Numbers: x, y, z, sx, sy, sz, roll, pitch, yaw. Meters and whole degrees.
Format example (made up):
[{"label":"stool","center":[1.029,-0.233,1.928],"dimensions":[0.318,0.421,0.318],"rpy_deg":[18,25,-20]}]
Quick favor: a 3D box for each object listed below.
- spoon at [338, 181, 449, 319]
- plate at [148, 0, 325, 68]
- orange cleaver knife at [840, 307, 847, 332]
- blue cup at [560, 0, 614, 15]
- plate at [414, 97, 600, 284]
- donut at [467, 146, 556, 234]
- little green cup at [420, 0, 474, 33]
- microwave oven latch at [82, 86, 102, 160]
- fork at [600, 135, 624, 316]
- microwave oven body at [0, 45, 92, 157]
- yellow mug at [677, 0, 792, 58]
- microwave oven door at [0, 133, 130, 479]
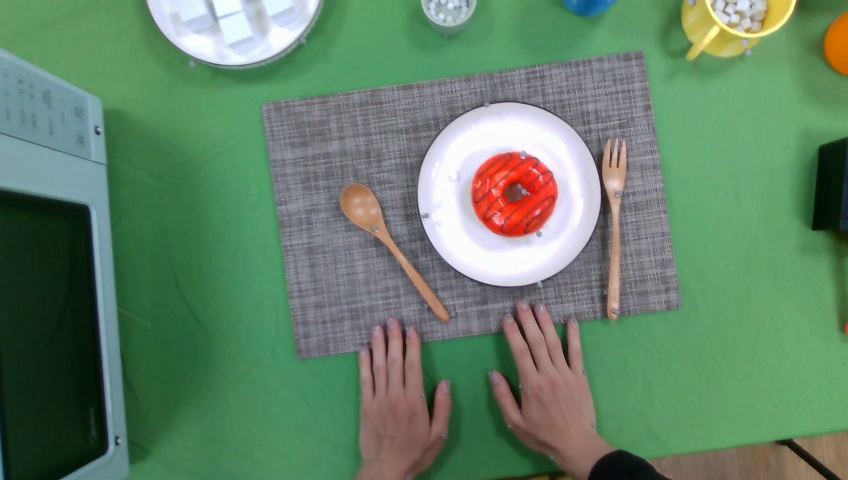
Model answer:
[{"label":"spoon","center":[-0.033,0.014,0.696],"dimensions":[0.041,0.021,0.193],"rpy_deg":[-37,88,-19]},{"label":"plate","center":[-0.212,-0.299,0.701],"dimensions":[0.208,0.039,0.207],"rpy_deg":[0,89,1]},{"label":"orange cleaver knife","center":[0.498,0.003,0.664],"dimensions":[0.012,0.076,0.213],"rpy_deg":[7,118,3]},{"label":"blue cup","center":[0.187,-0.294,0.665],"dimensions":[0.092,0.100,0.092],"rpy_deg":[0,90,0]},{"label":"plate","center":[0.092,-0.054,0.688],"dimensions":[0.209,0.038,0.209],"rpy_deg":[0,89,1]},{"label":"donut","center":[0.097,-0.056,0.677],"dimensions":[0.099,0.048,0.099],"rpy_deg":[0,89,3]},{"label":"little green cup","center":[0.027,-0.271,0.697],"dimensions":[0.061,0.038,0.061],"rpy_deg":[0,88,1]},{"label":"microwave oven latch","center":[-0.382,-0.131,0.680],"dimensions":[0.030,0.029,0.079],"rpy_deg":[-3,89,0]},{"label":"fork","center":[0.216,-0.016,0.695],"dimensions":[0.028,0.018,0.207],"rpy_deg":[2,87,-3]},{"label":"microwave oven body","center":[-0.517,0.055,0.582],"dimensions":[0.326,0.260,0.441],"rpy_deg":[-5,89,0]},{"label":"yellow mug","center":[0.337,-0.256,0.679],"dimensions":[0.100,0.064,0.131],"rpy_deg":[40,91,1]},{"label":"microwave oven door","center":[-0.368,0.085,0.575],"dimensions":[0.039,0.244,0.355],"rpy_deg":[-5,88,1]}]
